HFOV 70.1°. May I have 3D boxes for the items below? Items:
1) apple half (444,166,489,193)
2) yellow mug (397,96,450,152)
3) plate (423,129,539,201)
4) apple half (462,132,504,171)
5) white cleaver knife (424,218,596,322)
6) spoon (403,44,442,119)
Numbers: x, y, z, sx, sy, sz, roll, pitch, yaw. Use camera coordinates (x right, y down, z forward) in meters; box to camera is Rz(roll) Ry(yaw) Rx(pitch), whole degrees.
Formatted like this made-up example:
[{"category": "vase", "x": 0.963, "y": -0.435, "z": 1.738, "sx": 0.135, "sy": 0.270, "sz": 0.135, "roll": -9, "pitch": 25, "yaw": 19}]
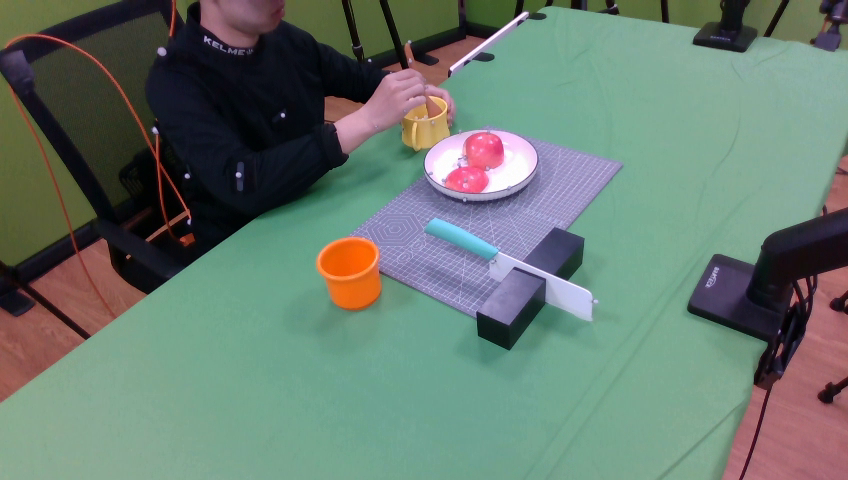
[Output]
[{"category": "apple half", "x": 0.074, "y": -0.113, "z": 1.063, "sx": 0.081, "sy": 0.033, "sz": 0.081, "roll": -6, "pitch": 39, "yaw": 5}, {"category": "yellow mug", "x": -0.004, "y": -0.226, "z": 1.200, "sx": 0.099, "sy": 0.064, "sz": 0.130, "roll": 5, "pitch": 43, "yaw": 15}, {"category": "plate", "x": 0.103, "y": -0.132, "z": 1.092, "sx": 0.209, "sy": 0.038, "sz": 0.208, "roll": -4, "pitch": 40, "yaw": 4}, {"category": "apple half", "x": 0.109, "y": -0.170, "z": 1.110, "sx": 0.075, "sy": 0.053, "sz": 0.080, "roll": -6, "pitch": 40, "yaw": -2}, {"category": "white cleaver knife", "x": 0.114, "y": 0.042, "z": 0.865, "sx": 0.284, "sy": 0.066, "sz": 0.021, "roll": 27, "pitch": 47, "yaw": 28}, {"category": "spoon", "x": -0.005, "y": -0.286, "z": 1.146, "sx": 0.021, "sy": 0.195, "sz": 0.041, "roll": 24, "pitch": 64, "yaw": 43}]
